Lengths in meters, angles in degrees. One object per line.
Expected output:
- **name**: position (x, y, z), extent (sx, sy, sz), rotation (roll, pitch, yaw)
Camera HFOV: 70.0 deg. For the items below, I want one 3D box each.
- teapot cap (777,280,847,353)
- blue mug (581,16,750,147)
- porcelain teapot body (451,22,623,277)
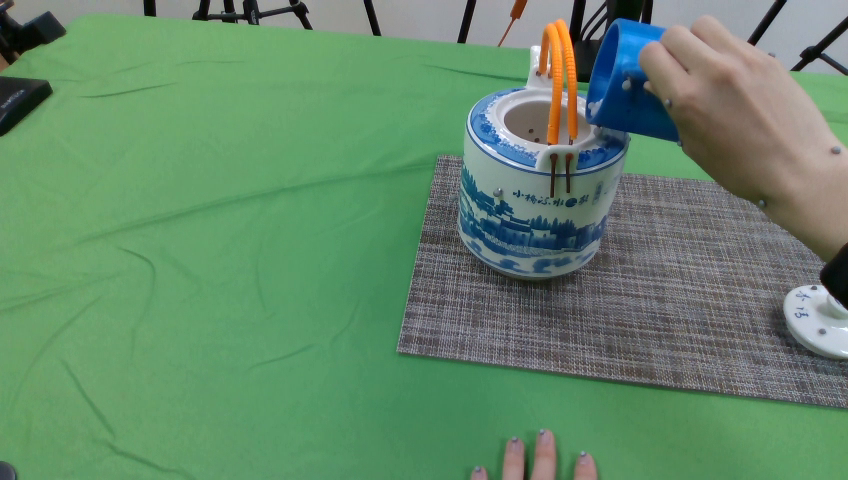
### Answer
- **teapot cap**: position (0.363, 0.064, 0.542), extent (0.085, 0.044, 0.084), rotation (3, 42, -2)
- **blue mug**: position (0.185, -0.121, 0.465), extent (0.106, 0.082, 0.116), rotation (12, 12, 0)
- **porcelain teapot body**: position (0.102, -0.102, 0.573), extent (0.145, 0.227, 0.203), rotation (1, 43, -2)
